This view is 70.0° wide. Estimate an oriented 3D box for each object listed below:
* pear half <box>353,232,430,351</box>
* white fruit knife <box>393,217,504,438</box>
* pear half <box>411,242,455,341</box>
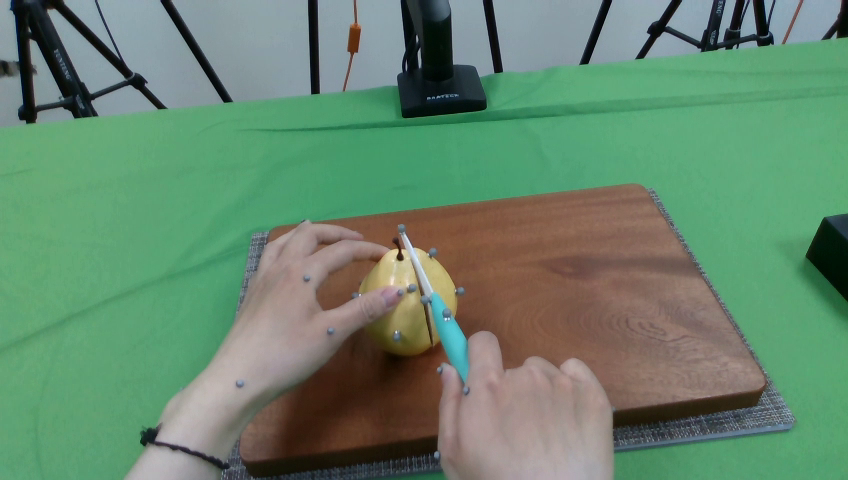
[{"bbox_3d":[-0.030,0.038,0.475,0.056,0.111,0.075,-16,38,-9],"label":"pear half"},{"bbox_3d":[0.008,0.046,0.428,0.016,0.028,0.205,-15,43,-13],"label":"white fruit knife"},{"bbox_3d":[0.008,0.038,0.488,0.031,0.089,0.069,-12,35,-14],"label":"pear half"}]
